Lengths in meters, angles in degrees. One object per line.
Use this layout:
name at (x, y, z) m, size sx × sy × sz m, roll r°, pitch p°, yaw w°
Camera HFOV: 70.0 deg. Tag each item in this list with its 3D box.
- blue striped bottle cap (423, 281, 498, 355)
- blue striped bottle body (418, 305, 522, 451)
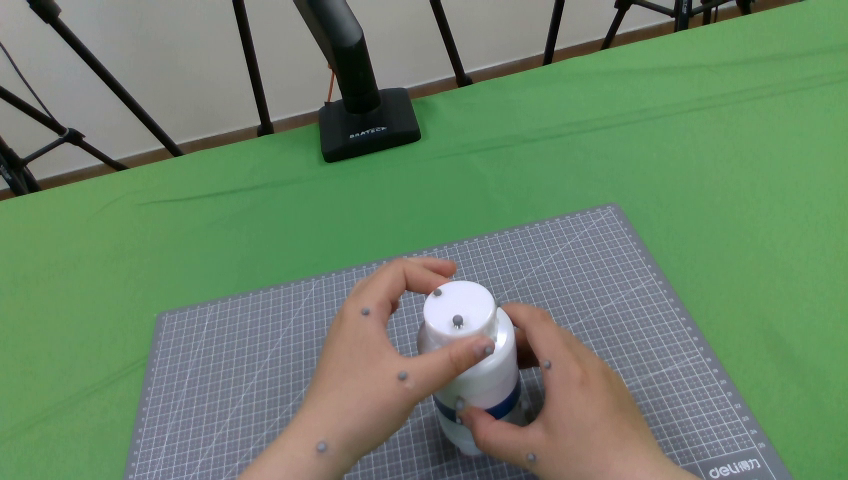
blue striped bottle cap at (0.022, 0.046, 0.365) m, size 0.044 × 0.021 × 0.044 m, roll -7°, pitch 45°, yaw 8°
blue striped bottle body at (0.032, 0.085, 0.402) m, size 0.063 × 0.122 × 0.062 m, roll -6°, pitch 45°, yaw 6°
